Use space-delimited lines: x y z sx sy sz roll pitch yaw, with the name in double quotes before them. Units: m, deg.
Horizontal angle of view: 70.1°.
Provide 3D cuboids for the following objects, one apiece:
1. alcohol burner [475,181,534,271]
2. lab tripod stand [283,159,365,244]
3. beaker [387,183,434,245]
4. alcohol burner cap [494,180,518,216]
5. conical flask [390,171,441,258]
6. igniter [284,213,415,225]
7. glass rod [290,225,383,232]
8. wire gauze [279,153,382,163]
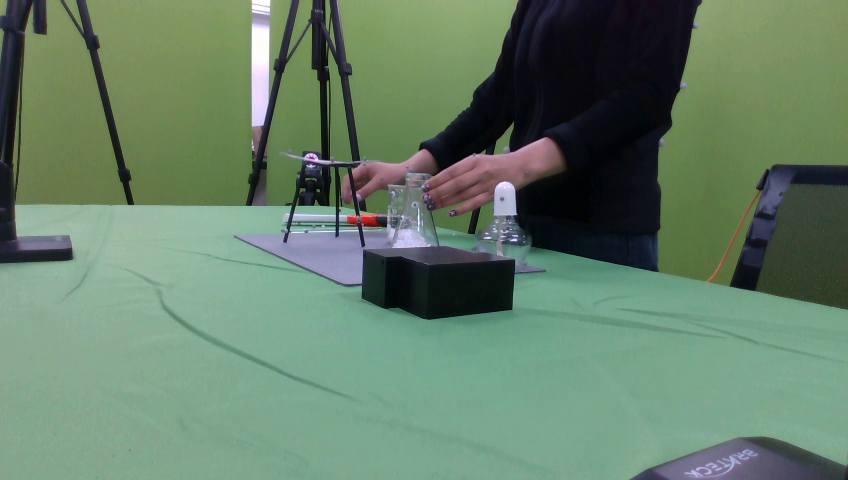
"alcohol burner" 0.108 -0.020 0.803 0.078 0.119 0.078 3 5 0
"lab tripod stand" -0.151 -0.063 0.983 0.148 0.131 0.148 4 7 0
"beaker" -0.027 -0.044 1.012 0.074 0.100 0.083 -2 8 -34
"alcohol burner cap" 0.108 -0.055 0.799 0.034 0.048 0.034 -2 4 0
"conical flask" -0.010 -0.037 0.872 0.075 0.122 0.075 2 7 0
"igniter" -0.154 -0.045 1.282 0.278 0.025 0.057 0 -2 -20
"glass rod" -0.166 -0.023 1.174 0.201 0.008 0.008 -3 9 -35
"wire gauze" -0.149 -0.129 0.974 0.124 0.011 0.122 10 9 41
